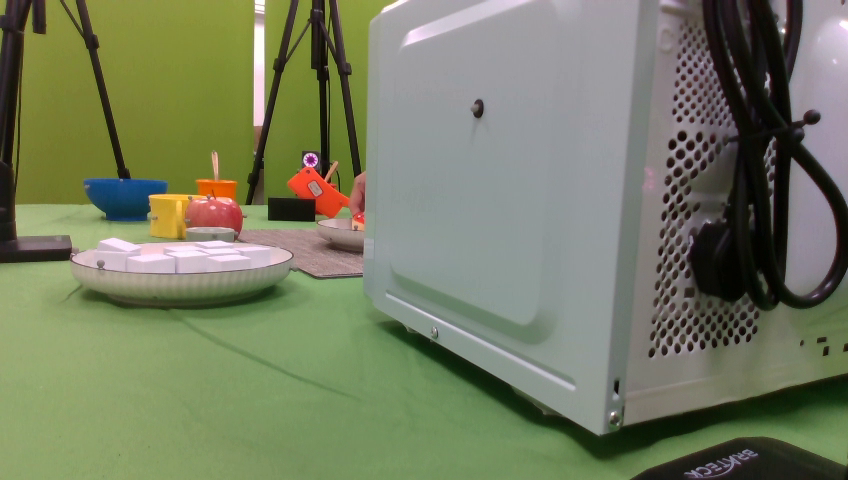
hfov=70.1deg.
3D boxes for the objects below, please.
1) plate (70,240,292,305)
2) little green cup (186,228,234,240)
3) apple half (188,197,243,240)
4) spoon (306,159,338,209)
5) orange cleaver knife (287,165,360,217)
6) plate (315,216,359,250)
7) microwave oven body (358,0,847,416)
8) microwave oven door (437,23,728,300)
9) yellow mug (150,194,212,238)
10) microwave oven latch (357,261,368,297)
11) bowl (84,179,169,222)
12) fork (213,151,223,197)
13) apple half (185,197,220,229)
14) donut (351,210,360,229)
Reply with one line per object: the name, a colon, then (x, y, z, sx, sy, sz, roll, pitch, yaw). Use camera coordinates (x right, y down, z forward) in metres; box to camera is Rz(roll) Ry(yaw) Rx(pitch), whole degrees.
plate: (-0.242, 0.031, 0.618, 0.208, 0.039, 0.207, 2, 8, 0)
little green cup: (-0.284, 0.005, 0.805, 0.061, 0.038, 0.061, 2, 8, 0)
apple half: (-0.305, -0.026, 0.907, 0.053, 0.074, 0.081, 12, 8, 31)
spoon: (-0.257, -0.147, 1.567, 0.041, 0.022, 0.193, 2, 50, 20)
orange cleaver knife: (-0.210, -0.093, 1.382, 0.212, 0.077, 0.012, 33, 1, -15)
plate: (-0.068, -0.010, 0.963, 0.209, 0.038, 0.209, 3, 8, 0)
microwave oven body: (0.211, -0.047, 0.475, 0.444, 0.260, 0.324, -1, 7, -28)
microwave oven door: (0.181, -0.072, 0.621, 0.358, 0.243, 0.039, -2, 8, -29)
yellow mug: (-0.401, -0.040, 1.003, 0.100, 0.064, 0.130, 0, 9, -20)
microwave oven latch: (-0.019, 0.033, 0.531, 0.079, 0.029, 0.030, -1, 7, -27)
bowl: (-0.584, -0.078, 1.194, 0.151, 0.077, 0.151, 3, 8, 0)
fork: (-0.494, -0.143, 1.442, 0.028, 0.018, 0.206, -2, 52, -20)
apple half: (-0.338, -0.031, 0.927, 0.032, 0.081, 0.081, 12, 12, 31)
donut: (-0.067, -0.022, 0.964, 0.099, 0.048, 0.099, 9, 8, -1)
